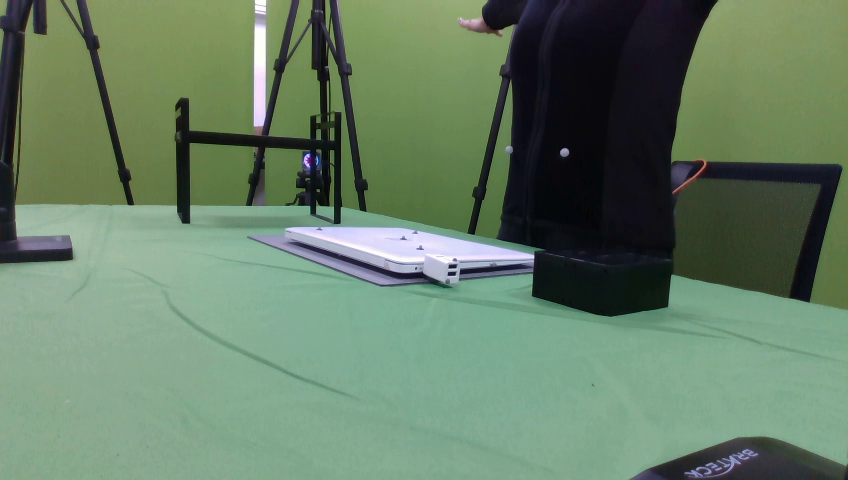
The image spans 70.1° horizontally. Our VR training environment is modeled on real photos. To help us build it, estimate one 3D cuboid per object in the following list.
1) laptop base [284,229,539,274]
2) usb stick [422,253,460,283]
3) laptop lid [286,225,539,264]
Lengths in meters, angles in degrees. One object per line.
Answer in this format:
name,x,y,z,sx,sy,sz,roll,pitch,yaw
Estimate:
laptop base,-0.034,0.013,0.898,0.237,0.023,0.352,1,7,-36
usb stick,0.015,0.031,0.698,0.021,0.027,0.059,-2,9,-34
laptop lid,-0.032,0.002,0.898,0.243,0.013,0.355,0,8,-34
